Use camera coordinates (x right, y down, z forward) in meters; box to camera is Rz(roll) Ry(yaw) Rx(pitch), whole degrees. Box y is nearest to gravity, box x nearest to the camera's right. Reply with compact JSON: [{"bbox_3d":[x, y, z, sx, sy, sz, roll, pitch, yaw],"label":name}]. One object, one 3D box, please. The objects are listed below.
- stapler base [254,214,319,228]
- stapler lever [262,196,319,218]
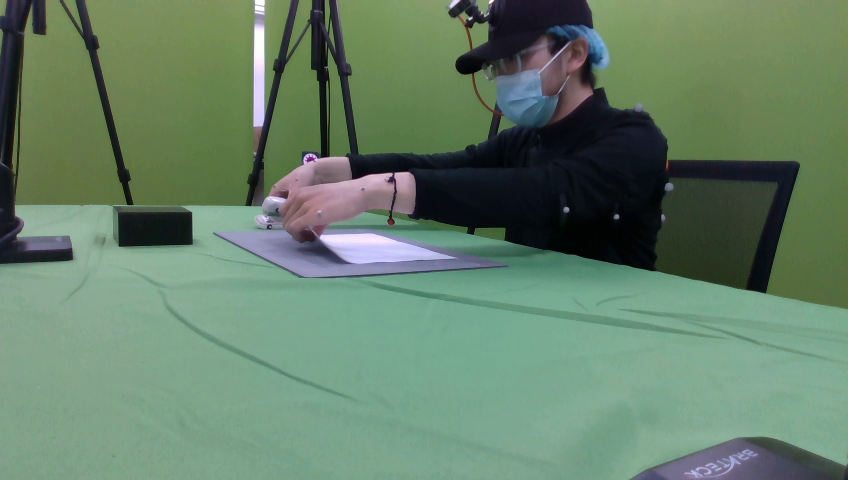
[{"bbox_3d":[-0.269,-0.044,1.197,0.131,0.024,0.041,-1,37,-42],"label":"stapler base"},{"bbox_3d":[-0.260,-0.064,1.187,0.119,0.040,0.026,-2,37,-41],"label":"stapler lever"}]
